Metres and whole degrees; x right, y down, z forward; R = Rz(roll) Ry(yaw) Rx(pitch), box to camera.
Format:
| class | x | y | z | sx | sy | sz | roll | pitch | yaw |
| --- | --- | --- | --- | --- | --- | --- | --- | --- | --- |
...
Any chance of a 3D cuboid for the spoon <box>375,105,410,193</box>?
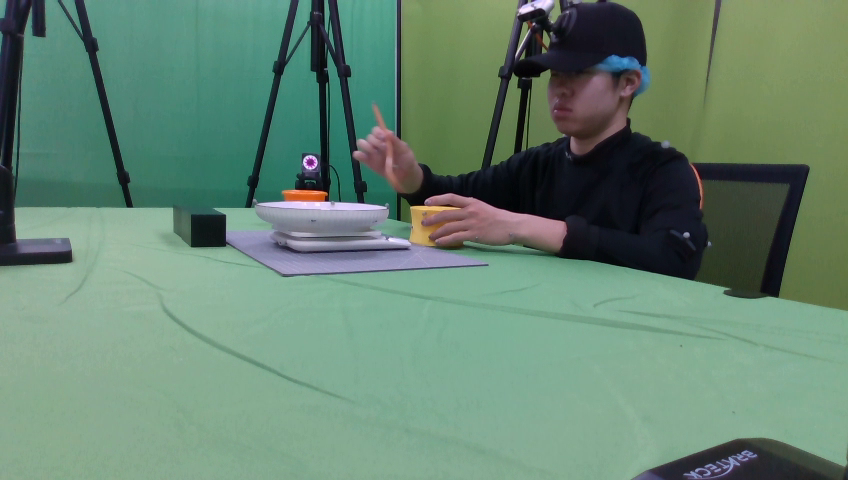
| class | x | y | z | sx | sy | sz | roll | pitch | yaw |
| --- | --- | --- | --- | --- | --- | --- | --- | --- | --- |
| spoon | -0.058 | -0.166 | 1.090 | 0.021 | 0.193 | 0.042 | -19 | -23 | 9 |

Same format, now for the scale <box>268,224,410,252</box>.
| class | x | y | z | sx | sy | sz | roll | pitch | yaw |
| --- | --- | --- | --- | --- | --- | --- | --- | --- | --- |
| scale | -0.137 | -0.006 | 0.979 | 0.202 | 0.031 | 0.148 | -1 | 8 | -30 |

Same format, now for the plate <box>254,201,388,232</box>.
| class | x | y | z | sx | sy | sz | roll | pitch | yaw |
| --- | --- | --- | --- | --- | --- | --- | --- | --- | --- |
| plate | -0.161 | -0.038 | 0.961 | 0.209 | 0.038 | 0.209 | 2 | 6 | 0 |

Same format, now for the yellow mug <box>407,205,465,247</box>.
| class | x | y | z | sx | sy | sz | roll | pitch | yaw |
| --- | --- | --- | --- | --- | --- | --- | --- | --- | --- |
| yellow mug | 0.026 | -0.027 | 1.104 | 0.099 | 0.064 | 0.131 | 7 | 7 | 19 |
